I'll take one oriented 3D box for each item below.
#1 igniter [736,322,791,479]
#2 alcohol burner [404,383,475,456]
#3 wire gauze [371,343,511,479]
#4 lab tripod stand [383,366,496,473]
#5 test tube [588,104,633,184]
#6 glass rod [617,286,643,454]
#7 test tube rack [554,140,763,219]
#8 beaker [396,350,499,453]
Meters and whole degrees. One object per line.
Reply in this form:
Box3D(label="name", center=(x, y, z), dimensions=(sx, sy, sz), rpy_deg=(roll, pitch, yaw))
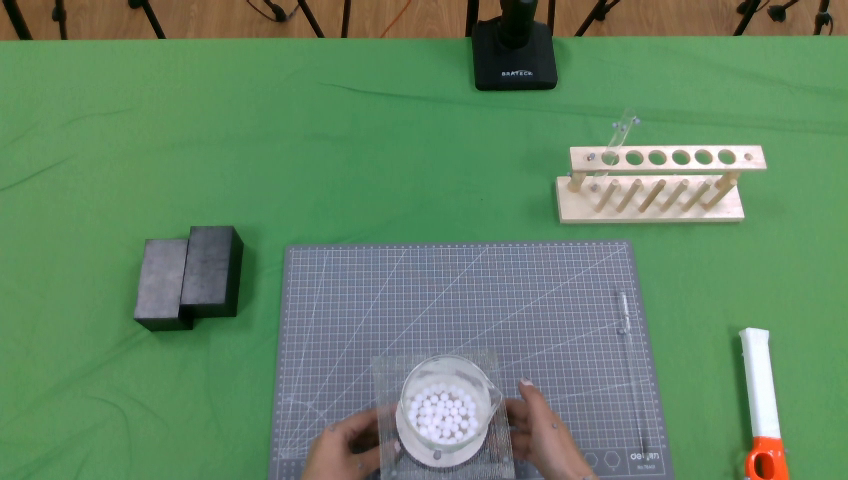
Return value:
Box3D(label="igniter", center=(0.385, 0.228, 0.686), dimensions=(0.057, 0.025, 0.274), rpy_deg=(10, 66, -8))
Box3D(label="alcohol burner", center=(0.018, 0.187, 0.643), dimensions=(0.078, 0.120, 0.077), rpy_deg=(1, 65, -3))
Box3D(label="wire gauze", center=(0.014, 0.160, 0.571), dimensions=(0.125, 0.011, 0.120), rpy_deg=(-5, 64, -1))
Box3D(label="lab tripod stand", center=(0.013, 0.190, 0.631), dimensions=(0.148, 0.132, 0.147), rpy_deg=(0, 66, 1))
Box3D(label="test tube", center=(0.227, -0.114, 0.745), dimensions=(0.017, 0.151, 0.017), rpy_deg=(0, 63, 0))
Box3D(label="glass rod", center=(0.246, 0.151, 0.723), dimensions=(0.008, 0.008, 0.198), rpy_deg=(0, 69, -2))
Box3D(label="test tube rack", center=(0.299, -0.077, 0.785), dimensions=(0.242, 0.086, 0.066), rpy_deg=(-1, 66, -2))
Box3D(label="beaker", center=(0.019, 0.144, 0.526), dimensions=(0.084, 0.101, 0.073), rpy_deg=(-6, 66, -4))
